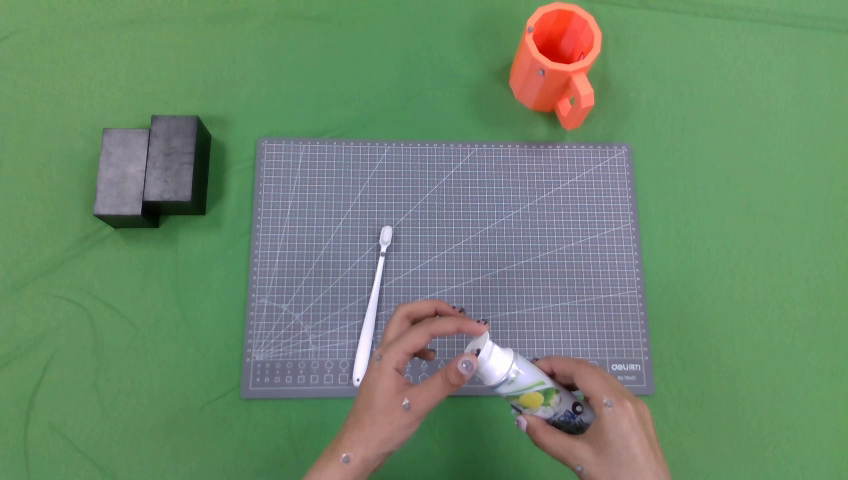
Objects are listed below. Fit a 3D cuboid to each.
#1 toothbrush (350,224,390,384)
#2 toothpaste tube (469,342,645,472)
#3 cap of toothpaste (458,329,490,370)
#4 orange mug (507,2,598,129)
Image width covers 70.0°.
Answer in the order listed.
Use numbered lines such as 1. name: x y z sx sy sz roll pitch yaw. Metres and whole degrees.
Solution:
1. toothbrush: -0.059 0.068 0.670 0.014 0.016 0.181 13 77 -14
2. toothpaste tube: 0.102 0.136 0.492 0.166 0.034 0.055 37 120 -13
3. cap of toothpaste: 0.040 0.087 0.471 0.011 0.037 0.037 33 76 -7
4. orange mug: 0.156 -0.198 0.711 0.083 0.101 0.125 -21 73 -8
